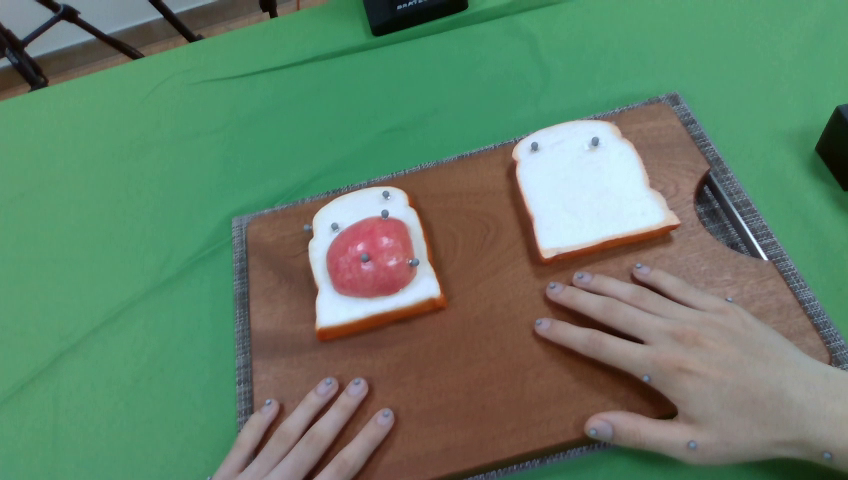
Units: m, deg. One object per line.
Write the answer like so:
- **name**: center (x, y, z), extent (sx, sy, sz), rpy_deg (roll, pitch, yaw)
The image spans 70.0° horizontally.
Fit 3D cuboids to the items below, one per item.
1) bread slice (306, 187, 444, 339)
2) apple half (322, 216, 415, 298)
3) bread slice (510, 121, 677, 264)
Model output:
- **bread slice**: center (-0.049, 0.012, 0.504), extent (0.105, 0.019, 0.130), rpy_deg (-16, 55, 0)
- **apple half**: center (-0.047, 0.008, 0.477), extent (0.081, 0.033, 0.080), rpy_deg (-5, 55, 7)
- **bread slice**: center (0.127, -0.045, 0.503), extent (0.107, 0.018, 0.133), rpy_deg (-17, 54, 0)
